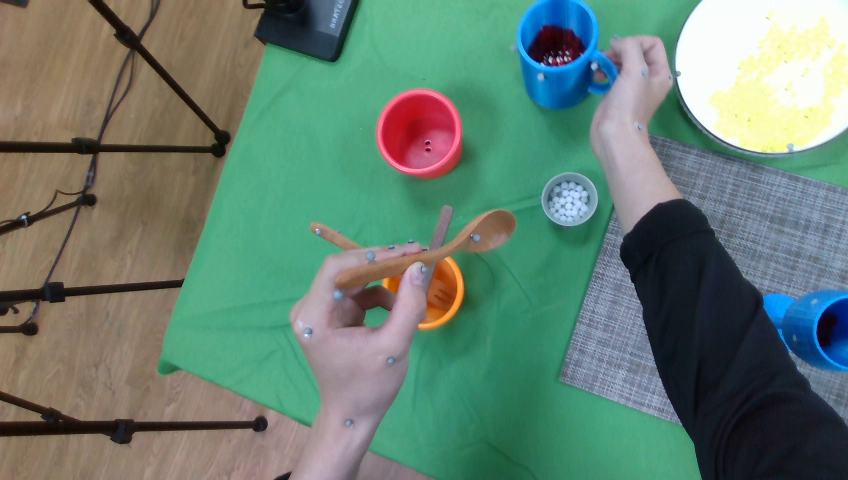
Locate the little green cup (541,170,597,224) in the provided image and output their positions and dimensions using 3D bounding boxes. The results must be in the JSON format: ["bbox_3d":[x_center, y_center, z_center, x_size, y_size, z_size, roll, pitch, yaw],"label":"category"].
[{"bbox_3d":[0.166,-0.047,0.694,0.061,0.039,0.061,-1,86,11],"label":"little green cup"}]

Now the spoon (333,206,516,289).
[{"bbox_3d":[0.010,0.006,0.421,0.021,0.194,0.042,39,121,22],"label":"spoon"}]

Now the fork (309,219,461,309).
[{"bbox_3d":[-0.039,0.028,0.670,0.209,0.018,0.028,31,99,-32],"label":"fork"}]

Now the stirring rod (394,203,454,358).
[{"bbox_3d":[0.000,0.044,0.659,0.014,0.006,0.176,18,89,12],"label":"stirring rod"}]

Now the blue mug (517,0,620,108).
[{"bbox_3d":[0.162,-0.196,0.666,0.116,0.106,0.082,30,90,15],"label":"blue mug"}]

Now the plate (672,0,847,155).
[{"bbox_3d":[0.379,-0.194,0.666,0.209,0.038,0.208,-1,87,10],"label":"plate"}]

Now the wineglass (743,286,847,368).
[{"bbox_3d":[0.367,0.079,0.577,0.073,0.173,0.073,-1,85,11],"label":"wineglass"}]
